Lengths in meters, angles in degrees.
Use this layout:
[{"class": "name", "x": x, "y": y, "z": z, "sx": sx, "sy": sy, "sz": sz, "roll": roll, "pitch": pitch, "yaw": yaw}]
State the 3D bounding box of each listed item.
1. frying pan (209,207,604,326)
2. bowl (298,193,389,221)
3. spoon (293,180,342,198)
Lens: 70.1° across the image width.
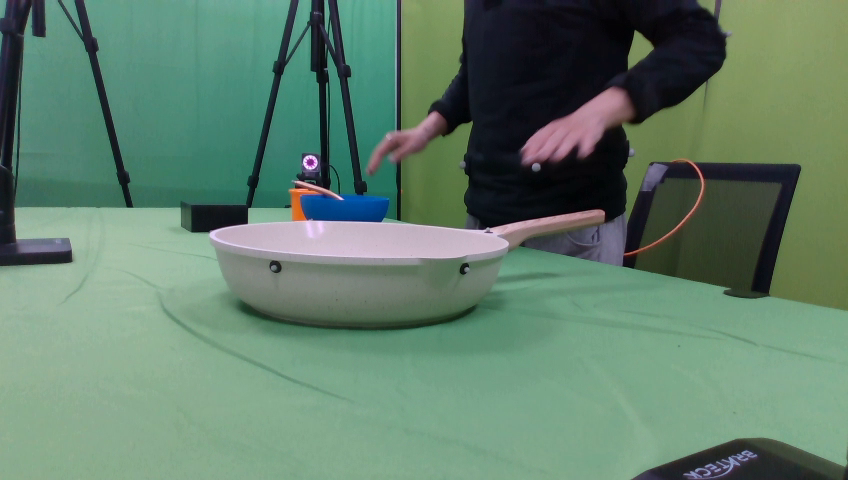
[{"class": "frying pan", "x": 0.026, "y": 0.005, "z": 0.664, "sx": 0.490, "sy": 0.102, "sz": 0.305, "roll": -12, "pitch": 14, "yaw": -30}, {"class": "bowl", "x": -0.136, "y": -0.037, "z": 1.018, "sx": 0.151, "sy": 0.077, "sz": 0.151, "roll": 2, "pitch": 7, "yaw": 0}, {"class": "spoon", "x": -0.157, "y": -0.075, "z": 1.056, "sx": 0.193, "sy": 0.021, "sz": 0.042, "roll": 27, "pitch": 24, "yaw": 27}]
